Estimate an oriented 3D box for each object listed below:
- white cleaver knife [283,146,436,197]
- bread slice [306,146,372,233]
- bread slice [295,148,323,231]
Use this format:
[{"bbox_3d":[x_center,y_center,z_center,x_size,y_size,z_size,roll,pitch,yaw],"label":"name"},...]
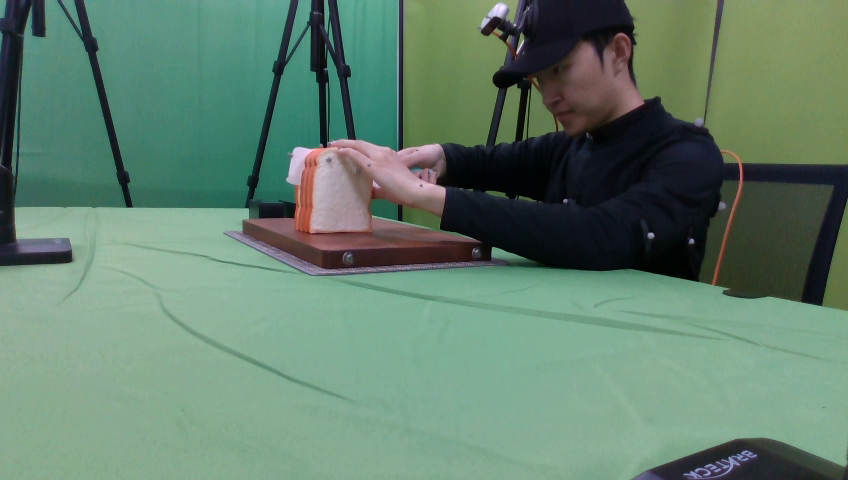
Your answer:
[{"bbox_3d":[-0.099,-0.106,1.004,0.288,0.066,0.021,4,4,-36],"label":"white cleaver knife"},{"bbox_3d":[-0.130,-0.076,0.926,0.107,0.134,0.018,-5,9,-36],"label":"bread slice"},{"bbox_3d":[-0.159,-0.081,0.970,0.105,0.131,0.019,-2,3,-37],"label":"bread slice"}]
